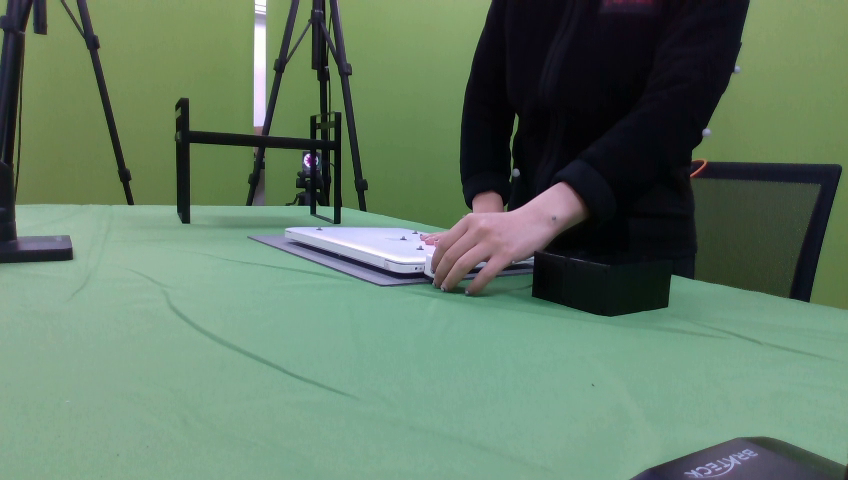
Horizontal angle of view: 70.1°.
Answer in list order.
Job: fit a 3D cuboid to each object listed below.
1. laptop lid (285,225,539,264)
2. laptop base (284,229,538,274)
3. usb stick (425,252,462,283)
[{"bbox_3d":[-0.032,0.002,0.898,0.243,0.013,0.355,0,8,-34],"label":"laptop lid"},{"bbox_3d":[-0.035,0.013,0.898,0.237,0.023,0.352,1,7,-36],"label":"laptop base"},{"bbox_3d":[0.018,0.030,0.697,0.021,0.027,0.059,-10,13,-34],"label":"usb stick"}]
